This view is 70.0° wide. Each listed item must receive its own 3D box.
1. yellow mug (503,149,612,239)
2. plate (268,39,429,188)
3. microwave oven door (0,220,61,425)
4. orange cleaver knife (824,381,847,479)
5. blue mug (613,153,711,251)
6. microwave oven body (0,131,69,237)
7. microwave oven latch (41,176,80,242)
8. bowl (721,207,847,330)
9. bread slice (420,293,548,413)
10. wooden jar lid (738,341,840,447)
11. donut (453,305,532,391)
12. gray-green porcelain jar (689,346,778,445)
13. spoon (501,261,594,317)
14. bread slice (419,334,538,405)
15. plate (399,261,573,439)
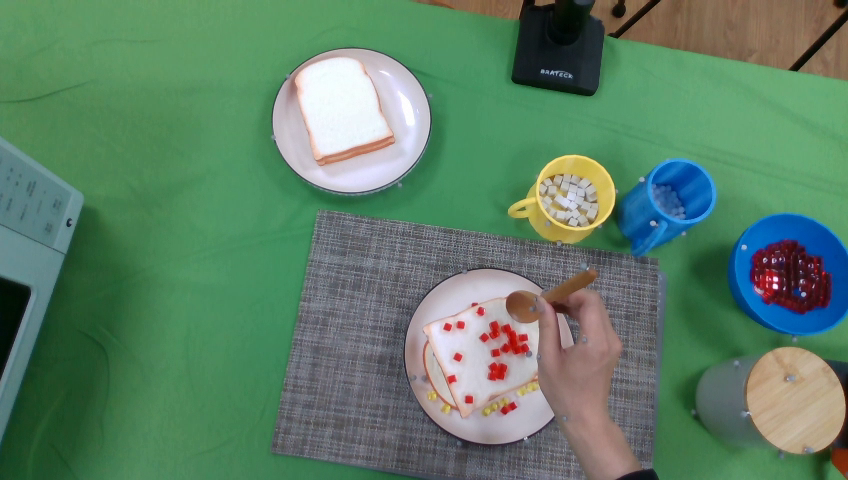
[{"bbox_3d":[0.166,-0.055,0.772,0.131,0.064,0.099,-11,76,-4],"label":"yellow mug"},{"bbox_3d":[-0.098,-0.164,0.800,0.208,0.039,0.206,1,76,-3],"label":"plate"},{"bbox_3d":[-0.482,0.143,0.578,0.039,0.245,0.354,11,75,0],"label":"microwave oven door"},{"bbox_3d":[0.494,0.247,0.705,0.012,0.077,0.212,8,102,0],"label":"orange cleaver knife"},{"bbox_3d":[0.286,-0.037,0.754,0.082,0.106,0.116,29,76,5],"label":"blue mug"},{"bbox_3d":[-0.617,0.076,0.592,0.326,0.261,0.439,11,76,0],"label":"microwave oven body"},{"bbox_3d":[-0.444,-0.039,0.730,0.030,0.029,0.079,14,76,0],"label":"microwave oven latch"},{"bbox_3d":[0.435,0.042,0.756,0.151,0.077,0.150,1,76,-3],"label":"bowl"},{"bbox_3d":[0.072,0.112,0.675,0.134,0.018,0.106,-25,83,-16],"label":"bread slice"},{"bbox_3d":[0.378,0.160,0.634,0.108,0.021,0.108,1,79,-4],"label":"wooden jar lid"},{"bbox_3d":[0.080,0.125,0.705,0.099,0.048,0.098,5,77,-20],"label":"donut"},{"bbox_3d":[0.376,0.177,0.695,0.106,0.127,0.105,1,76,-3],"label":"gray-green porcelain jar"},{"bbox_3d":[0.118,0.050,0.592,0.021,0.194,0.041,-39,86,-16],"label":"spoon"},{"bbox_3d":[0.062,0.140,0.733,0.132,0.019,0.104,-21,75,-12],"label":"bread slice"},{"bbox_3d":[0.073,0.131,0.731,0.209,0.038,0.208,1,76,-3],"label":"plate"}]
